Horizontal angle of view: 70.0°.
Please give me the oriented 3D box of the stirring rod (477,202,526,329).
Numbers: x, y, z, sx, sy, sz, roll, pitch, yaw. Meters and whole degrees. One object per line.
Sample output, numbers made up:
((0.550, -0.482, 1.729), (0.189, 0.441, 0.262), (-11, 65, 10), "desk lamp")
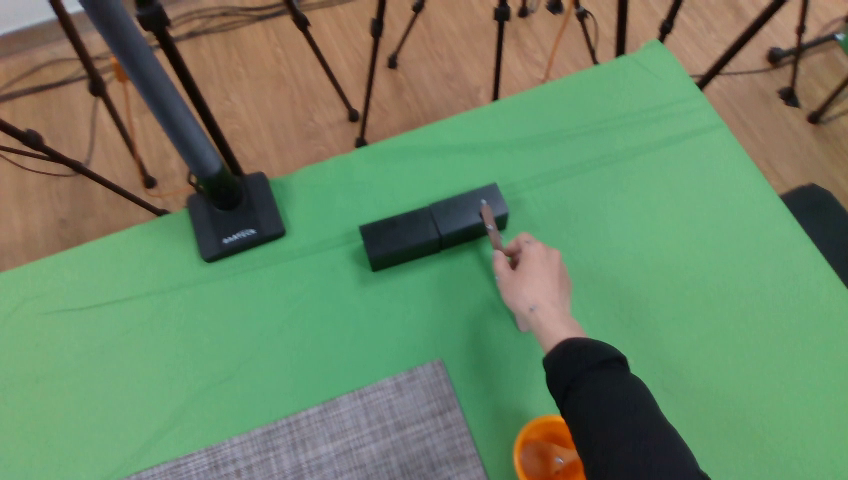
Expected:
((0.103, 0.033, 0.805), (0.014, 0.006, 0.175), (-17, 85, -9), "stirring rod")

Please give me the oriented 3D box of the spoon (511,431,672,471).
((0.177, 0.228, 0.666), (0.022, 0.193, 0.041), (21, 58, -38), "spoon")
